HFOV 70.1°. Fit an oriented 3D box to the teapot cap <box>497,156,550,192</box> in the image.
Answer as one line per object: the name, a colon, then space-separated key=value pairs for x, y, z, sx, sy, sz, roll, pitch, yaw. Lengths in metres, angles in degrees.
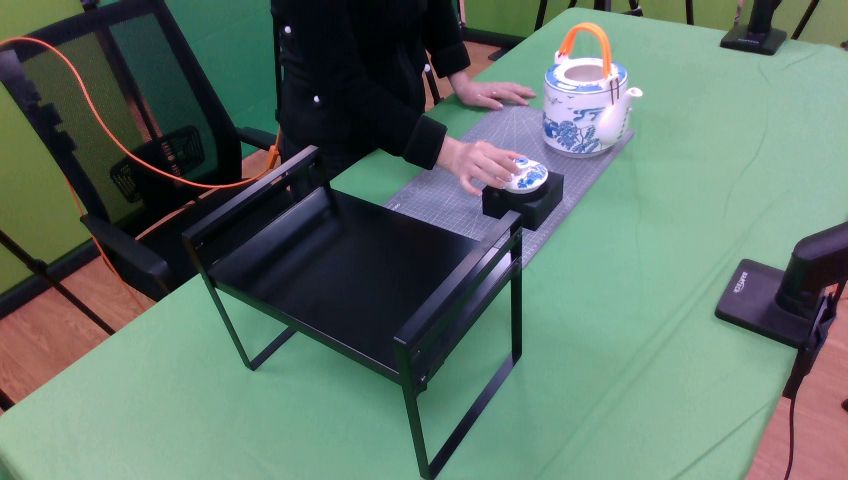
teapot cap: x=0.162 y=-0.113 z=0.986 sx=0.085 sy=0.044 sz=0.085 roll=-2 pitch=43 yaw=2

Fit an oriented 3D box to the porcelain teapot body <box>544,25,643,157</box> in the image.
porcelain teapot body: x=0.306 y=-0.258 z=1.070 sx=0.146 sy=0.226 sz=0.203 roll=-26 pitch=44 yaw=-20
